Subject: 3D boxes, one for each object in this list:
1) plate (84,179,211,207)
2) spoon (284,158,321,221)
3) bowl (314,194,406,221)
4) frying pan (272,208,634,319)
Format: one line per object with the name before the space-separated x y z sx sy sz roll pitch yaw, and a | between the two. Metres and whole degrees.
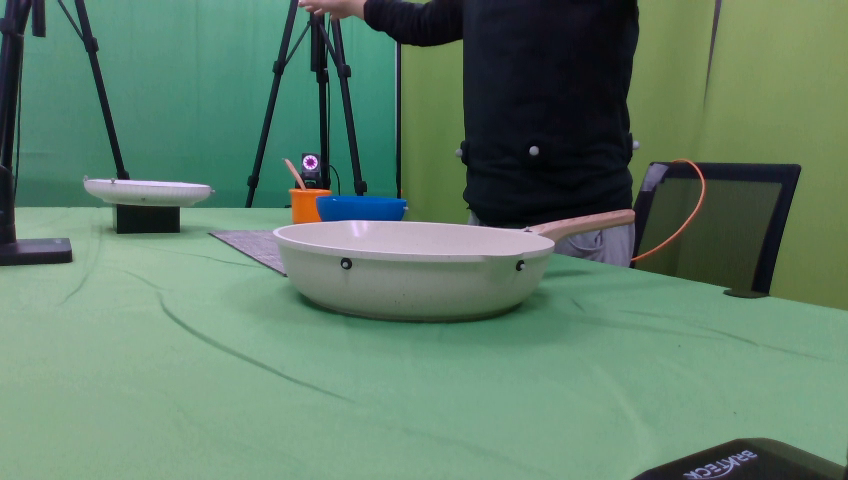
plate | -0.495 -0.085 1.093 0.208 0.039 0.207 4 7 0
spoon | -0.269 -0.113 1.335 0.042 0.193 0.021 -3 -35 -43
bowl | -0.105 -0.032 0.991 0.151 0.077 0.151 3 7 0
frying pan | 0.076 0.004 0.695 0.490 0.102 0.305 -12 14 -30
